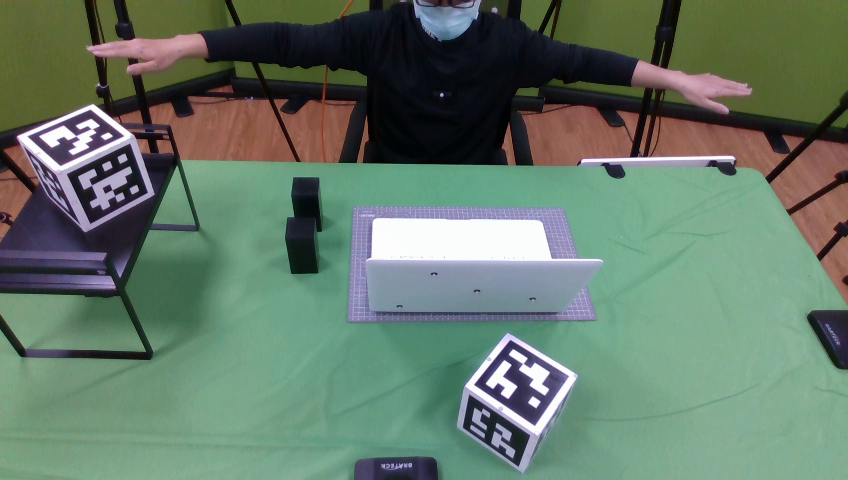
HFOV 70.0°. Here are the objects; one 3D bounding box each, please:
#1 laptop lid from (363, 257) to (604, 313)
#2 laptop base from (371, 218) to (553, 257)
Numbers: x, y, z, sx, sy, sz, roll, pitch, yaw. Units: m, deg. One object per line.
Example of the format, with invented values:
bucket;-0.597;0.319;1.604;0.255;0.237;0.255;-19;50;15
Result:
laptop lid;0.084;0.076;0.972;0.357;0.242;0.013;1;65;-5
laptop base;0.074;0.044;1.159;0.354;0.023;0.234;0;43;-3
